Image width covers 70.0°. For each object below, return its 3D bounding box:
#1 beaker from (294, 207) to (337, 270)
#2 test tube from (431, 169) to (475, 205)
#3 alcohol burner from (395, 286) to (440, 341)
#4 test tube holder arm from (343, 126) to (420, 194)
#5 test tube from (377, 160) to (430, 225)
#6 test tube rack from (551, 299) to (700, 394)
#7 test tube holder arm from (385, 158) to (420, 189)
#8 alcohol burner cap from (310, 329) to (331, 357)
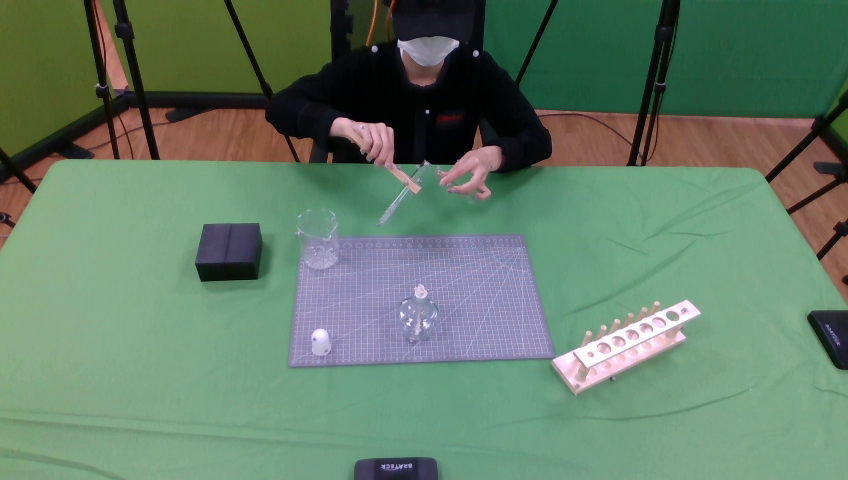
[{"bbox_3d":[-0.196,0.003,1.123,0.074,0.101,0.083,-23,53,-24],"label":"beaker"},{"bbox_3d":[0.059,-0.101,1.179,0.017,0.151,0.017,-15,63,30],"label":"test tube"},{"bbox_3d":[-0.010,0.116,1.018,0.078,0.119,0.077,3,47,-3],"label":"alcohol burner"},{"bbox_3d":[-0.078,-0.148,1.118,0.178,0.015,0.013,41,10,0],"label":"test tube holder arm"},{"bbox_3d":[-0.040,-0.087,1.128,0.017,0.150,0.017,36,14,-10],"label":"test tube"},{"bbox_3d":[0.339,0.166,1.021,0.242,0.085,0.066,-19,50,-21],"label":"test tube rack"},{"bbox_3d":[-0.044,-0.120,1.126,0.088,0.015,0.010,40,11,-8],"label":"test tube holder arm"},{"bbox_3d":[-0.173,0.168,1.004,0.034,0.048,0.033,2,46,-2],"label":"alcohol burner cap"}]
